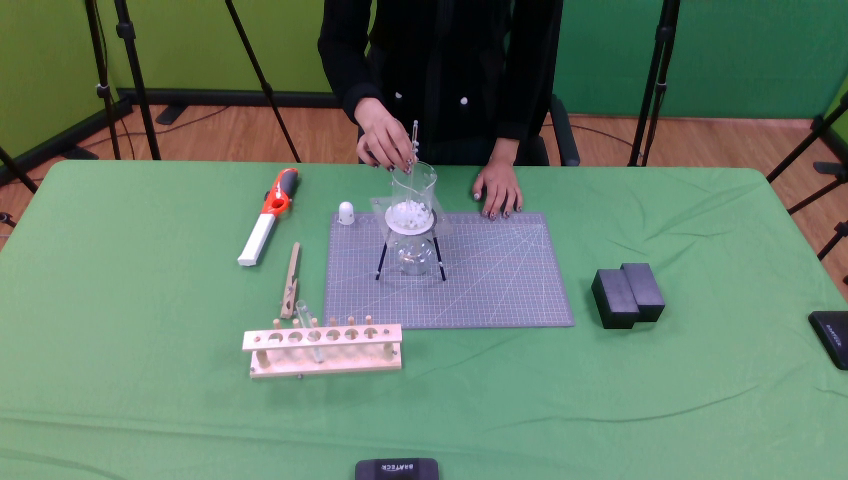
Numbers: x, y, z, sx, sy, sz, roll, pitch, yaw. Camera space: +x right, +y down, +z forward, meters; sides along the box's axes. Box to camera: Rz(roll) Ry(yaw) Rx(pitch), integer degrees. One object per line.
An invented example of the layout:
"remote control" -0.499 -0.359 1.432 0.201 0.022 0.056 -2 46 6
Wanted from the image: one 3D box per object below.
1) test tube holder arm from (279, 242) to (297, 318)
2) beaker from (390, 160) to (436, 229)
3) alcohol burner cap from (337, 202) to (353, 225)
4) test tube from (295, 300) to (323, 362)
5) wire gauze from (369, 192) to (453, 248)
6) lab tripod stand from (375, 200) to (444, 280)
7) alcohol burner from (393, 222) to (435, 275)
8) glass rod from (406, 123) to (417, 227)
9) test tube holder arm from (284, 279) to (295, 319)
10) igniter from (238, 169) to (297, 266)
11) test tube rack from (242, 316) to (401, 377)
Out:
"test tube holder arm" -0.249 0.069 1.114 0.013 0.015 0.177 26 38 -27
"beaker" -0.020 -0.073 1.029 0.074 0.101 0.083 -10 48 -16
"alcohol burner cap" -0.161 -0.056 1.223 0.034 0.048 0.033 2 46 -2
"test tube" -0.176 0.143 0.935 0.017 0.151 0.017 -2 46 2
"wire gauze" -0.025 -0.041 1.065 0.122 0.011 0.124 -10 46 -18
"lab tripod stand" -0.023 0.004 1.114 0.148 0.132 0.147 4 45 -3
"alcohol burner" -0.018 0.009 1.123 0.078 0.119 0.077 3 47 -3
"glass rod" -0.020 -0.100 0.982 0.008 0.200 0.008 4 39 -3
"test tube holder arm" -0.242 0.103 1.085 0.010 0.015 0.087 26 38 -27
"igniter" -0.313 -0.054 1.225 0.057 0.025 0.275 1 45 10
"test tube rack" -0.161 0.166 0.983 0.242 0.085 0.066 -2 46 -6
